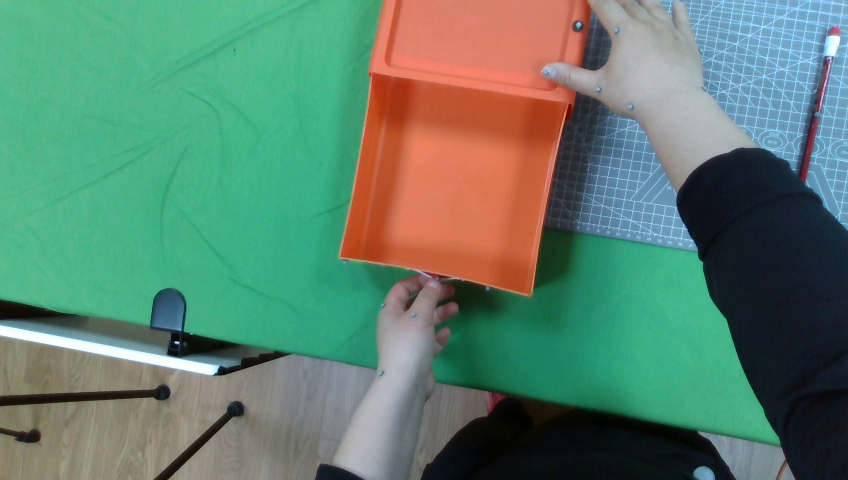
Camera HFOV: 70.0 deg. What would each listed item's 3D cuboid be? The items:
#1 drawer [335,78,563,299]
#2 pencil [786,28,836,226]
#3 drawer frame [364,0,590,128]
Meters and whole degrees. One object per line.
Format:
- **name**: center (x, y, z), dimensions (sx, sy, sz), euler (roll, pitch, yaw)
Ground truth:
- **drawer**: center (0.028, -0.060, 0.610), dimensions (0.194, 0.073, 0.211), euler (10, 91, 10)
- **pencil**: center (0.373, -0.108, 0.587), dimensions (0.012, 0.012, 0.194), euler (12, 92, 10)
- **drawer frame**: center (0.062, -0.236, 0.605), dimensions (0.201, 0.083, 0.213), euler (10, 89, 10)
